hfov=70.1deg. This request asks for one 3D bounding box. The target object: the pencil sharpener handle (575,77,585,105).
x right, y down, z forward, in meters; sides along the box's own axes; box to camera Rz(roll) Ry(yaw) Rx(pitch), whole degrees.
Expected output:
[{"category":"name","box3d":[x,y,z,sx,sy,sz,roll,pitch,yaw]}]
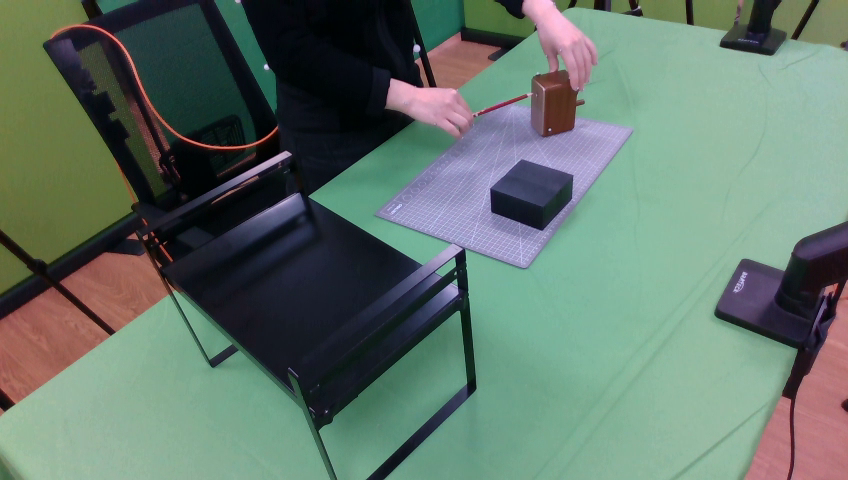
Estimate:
[{"category":"pencil sharpener handle","box3d":[0.303,-0.292,1.181,0.031,0.068,0.035,-15,48,-9]}]

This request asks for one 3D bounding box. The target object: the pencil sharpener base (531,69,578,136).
[{"category":"pencil sharpener base","box3d":[0.256,-0.268,1.179,0.077,0.107,0.061,-15,41,-9]}]

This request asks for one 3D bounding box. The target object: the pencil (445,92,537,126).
[{"category":"pencil","box3d":[0.127,-0.246,1.123,0.195,0.012,0.012,-21,43,-13]}]
